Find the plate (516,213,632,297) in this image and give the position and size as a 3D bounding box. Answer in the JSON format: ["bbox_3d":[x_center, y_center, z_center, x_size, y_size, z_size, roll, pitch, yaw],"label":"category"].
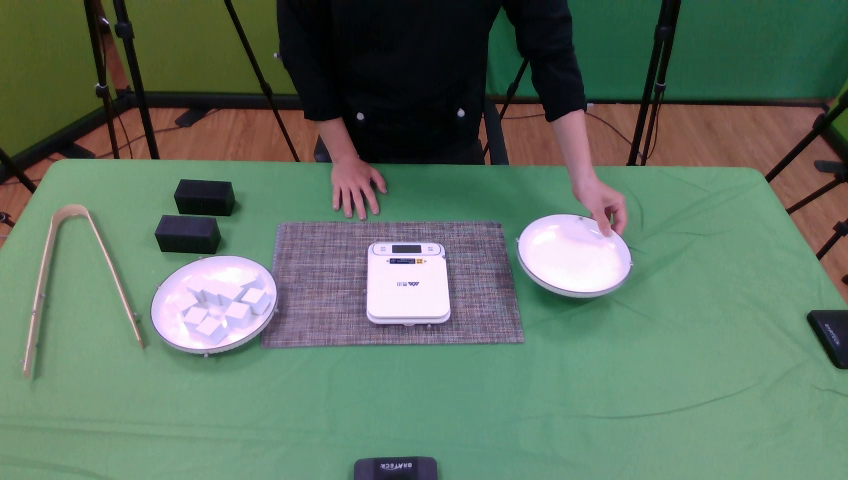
[{"bbox_3d":[0.273,0.031,1.117,0.209,0.038,0.208,1,43,-1],"label":"plate"}]

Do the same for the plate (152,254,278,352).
[{"bbox_3d":[-0.357,0.111,1.052,0.208,0.039,0.206,2,46,-2],"label":"plate"}]

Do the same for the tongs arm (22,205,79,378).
[{"bbox_3d":[-0.652,0.074,1.067,0.051,0.026,0.382,-11,46,-15],"label":"tongs arm"}]

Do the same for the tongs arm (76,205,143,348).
[{"bbox_3d":[-0.570,0.054,1.097,0.028,0.028,0.385,-26,52,-22],"label":"tongs arm"}]

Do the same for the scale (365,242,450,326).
[{"bbox_3d":[-0.032,0.071,1.113,0.149,0.032,0.199,1,46,-4],"label":"scale"}]
